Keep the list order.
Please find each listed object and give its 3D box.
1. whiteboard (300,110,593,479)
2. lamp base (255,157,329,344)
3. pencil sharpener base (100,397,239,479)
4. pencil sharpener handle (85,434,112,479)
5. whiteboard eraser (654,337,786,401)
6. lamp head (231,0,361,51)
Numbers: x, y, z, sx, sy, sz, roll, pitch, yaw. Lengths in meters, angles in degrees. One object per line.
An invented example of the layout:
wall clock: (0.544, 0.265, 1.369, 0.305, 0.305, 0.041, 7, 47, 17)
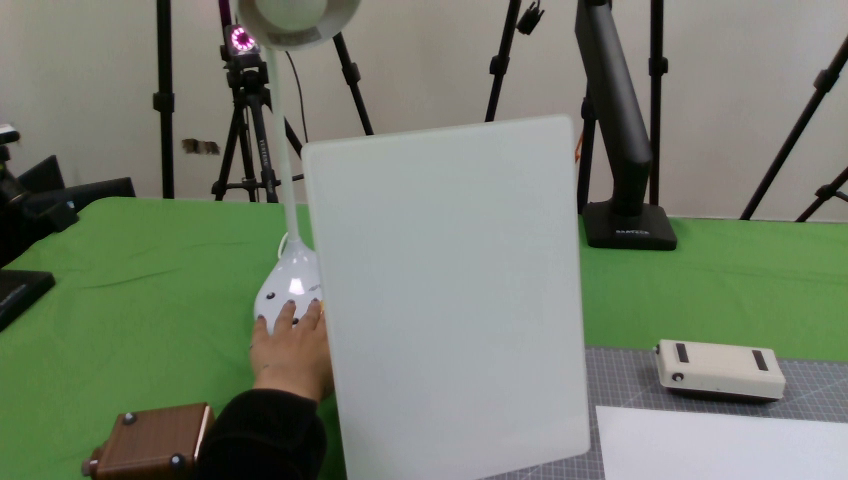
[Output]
whiteboard: (0.017, 0.048, 0.557, 0.218, 0.306, 0.143, -9, 12, -10)
lamp base: (-0.135, 0.002, 0.708, 0.161, 0.181, 0.177, -25, 35, -33)
pencil sharpener base: (-0.196, 0.184, 0.473, 0.077, 0.108, 0.061, -6, 32, -6)
pencil sharpener handle: (-0.247, 0.181, 0.458, 0.031, 0.068, 0.035, -6, 18, -6)
whiteboard eraser: (0.293, 0.129, 0.605, 0.112, 0.042, 0.055, 5, 32, 10)
lamp head: (-0.125, -0.241, 0.521, 0.113, 0.113, 0.121, -18, 59, -25)
